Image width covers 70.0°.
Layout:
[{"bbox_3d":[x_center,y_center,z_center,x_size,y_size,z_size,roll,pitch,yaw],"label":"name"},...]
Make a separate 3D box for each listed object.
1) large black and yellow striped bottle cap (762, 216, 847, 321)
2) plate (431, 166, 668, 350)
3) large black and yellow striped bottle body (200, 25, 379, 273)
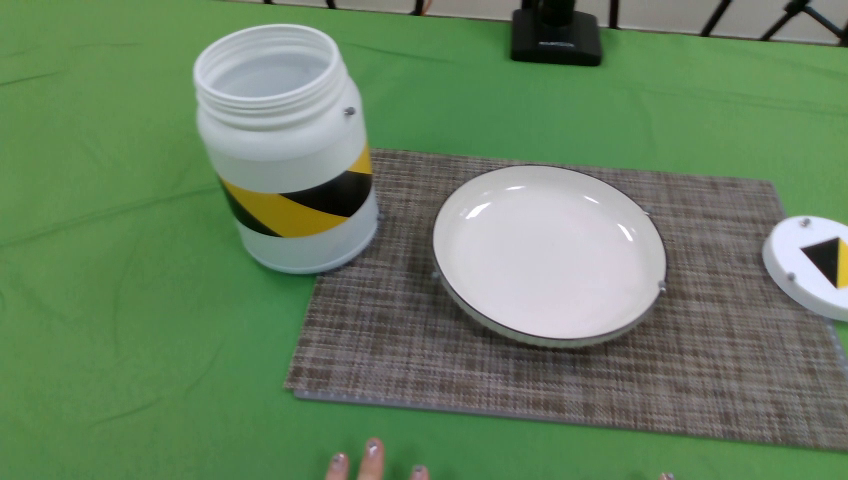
[{"bbox_3d":[0.376,0.023,0.561,0.115,0.019,0.114,3,49,-3],"label":"large black and yellow striped bottle cap"},{"bbox_3d":[0.110,0.014,0.548,0.208,0.039,0.205,1,48,-1],"label":"plate"},{"bbox_3d":[-0.111,-0.075,0.524,0.131,0.186,0.129,-1,48,2],"label":"large black and yellow striped bottle body"}]
